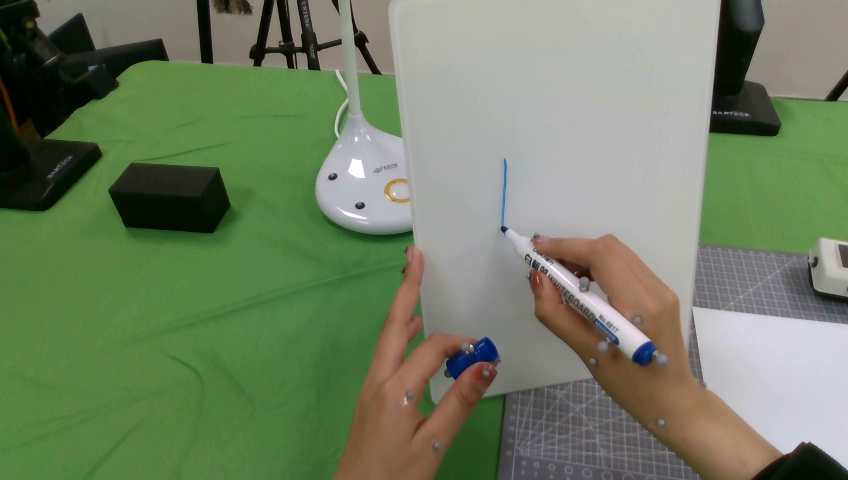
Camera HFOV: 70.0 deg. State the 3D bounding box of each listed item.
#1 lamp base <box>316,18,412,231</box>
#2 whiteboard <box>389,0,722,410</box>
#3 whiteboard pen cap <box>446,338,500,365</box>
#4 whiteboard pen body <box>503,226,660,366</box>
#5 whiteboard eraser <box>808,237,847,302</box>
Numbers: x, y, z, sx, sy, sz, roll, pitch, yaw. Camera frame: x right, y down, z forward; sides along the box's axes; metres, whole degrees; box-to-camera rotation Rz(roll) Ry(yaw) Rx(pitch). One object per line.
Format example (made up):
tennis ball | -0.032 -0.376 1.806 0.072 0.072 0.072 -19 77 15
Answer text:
lamp base | -0.052 -0.128 0.637 0.161 0.182 0.177 -28 46 -26
whiteboard | 0.090 -0.046 0.493 0.217 0.307 0.142 -8 24 -5
whiteboard pen cap | 0.032 0.072 0.392 0.033 0.018 0.018 -5 34 38
whiteboard pen body | 0.092 0.028 0.382 0.017 0.017 0.139 -23 44 -21
whiteboard eraser | 0.408 0.035 0.540 0.112 0.042 0.055 11 43 14
